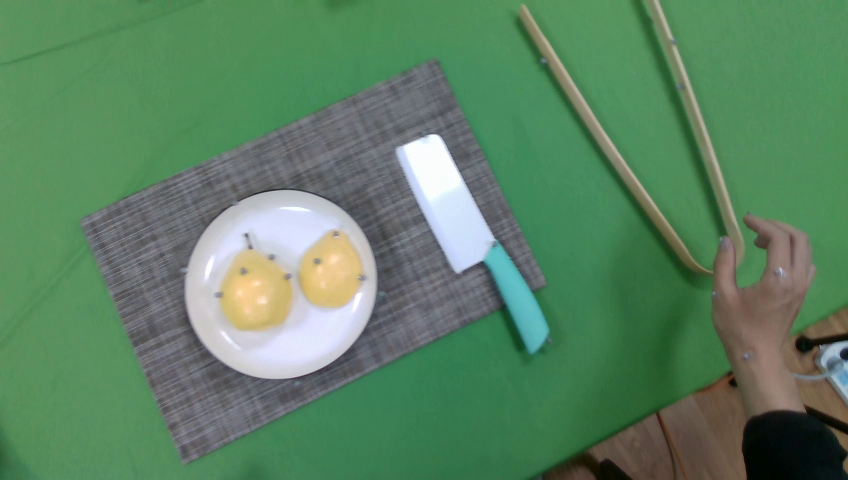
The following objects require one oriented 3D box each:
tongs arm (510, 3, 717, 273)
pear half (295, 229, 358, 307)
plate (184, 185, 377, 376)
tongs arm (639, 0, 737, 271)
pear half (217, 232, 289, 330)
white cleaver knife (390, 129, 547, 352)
[{"bbox_3d":[0.212,-0.117,0.705,0.028,0.028,0.386,-33,86,-6],"label":"tongs arm"},{"bbox_3d":[-0.108,0.030,0.667,0.070,0.031,0.088,6,89,-5],"label":"pear half"},{"bbox_3d":[-0.155,0.044,0.670,0.208,0.039,0.207,0,84,-1],"label":"plate"},{"bbox_3d":[0.286,-0.152,0.705,0.051,0.026,0.384,-20,86,-1],"label":"tongs arm"},{"bbox_3d":[-0.190,0.041,0.655,0.076,0.056,0.109,-16,81,-7],"label":"pear half"},{"bbox_3d":[0.049,0.001,0.693,0.066,0.021,0.285,-30,82,5],"label":"white cleaver knife"}]
